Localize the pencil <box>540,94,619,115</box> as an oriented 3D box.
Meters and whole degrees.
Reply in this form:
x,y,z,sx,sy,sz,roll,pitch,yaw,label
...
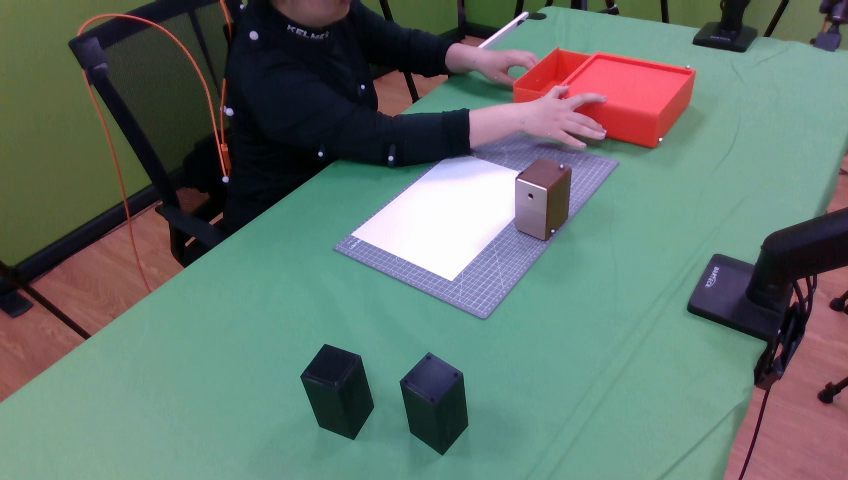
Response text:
x,y,z,sx,sy,sz,roll,pitch,yaw,label
0.326,-0.284,1.257,0.195,0.012,0.012,-17,41,-17,pencil

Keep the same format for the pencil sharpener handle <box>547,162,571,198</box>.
x,y,z,sx,sy,sz,roll,pitch,yaw,label
0.222,-0.101,0.968,0.035,0.068,0.031,19,46,38,pencil sharpener handle

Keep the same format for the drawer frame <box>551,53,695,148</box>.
x,y,z,sx,sy,sz,roll,pitch,yaw,label
0.391,-0.281,1.196,0.212,0.083,0.202,22,48,30,drawer frame

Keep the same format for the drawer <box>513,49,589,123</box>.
x,y,z,sx,sy,sz,roll,pitch,yaw,label
0.320,-0.307,1.242,0.210,0.073,0.195,23,48,29,drawer

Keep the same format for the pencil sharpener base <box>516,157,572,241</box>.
x,y,z,sx,sy,sz,roll,pitch,yaw,label
0.189,-0.065,0.948,0.061,0.107,0.077,24,49,33,pencil sharpener base
